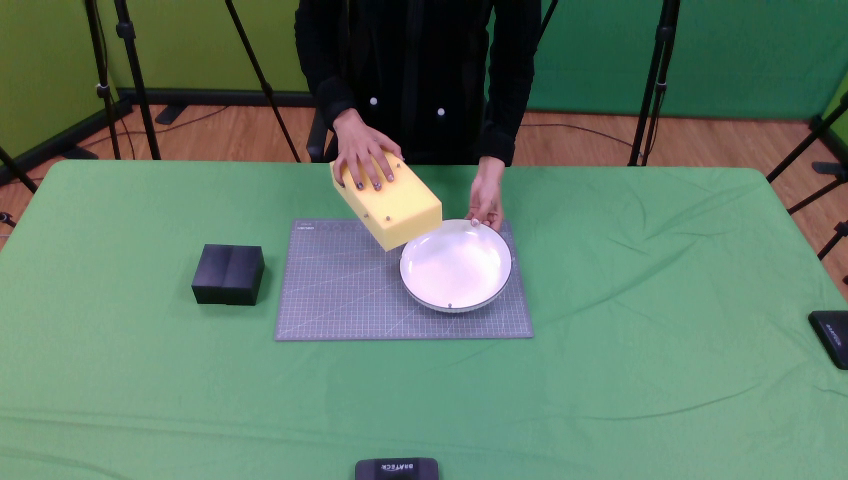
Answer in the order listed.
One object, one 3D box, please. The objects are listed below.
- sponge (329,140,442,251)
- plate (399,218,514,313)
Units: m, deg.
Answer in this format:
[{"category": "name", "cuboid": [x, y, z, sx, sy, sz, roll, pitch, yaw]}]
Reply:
[{"category": "sponge", "cuboid": [-0.072, -0.085, 1.106, 0.118, 0.061, 0.205, -27, 53, -19]}, {"category": "plate", "cuboid": [0.058, 0.048, 1.113, 0.209, 0.038, 0.208, -3, 52, 5]}]
